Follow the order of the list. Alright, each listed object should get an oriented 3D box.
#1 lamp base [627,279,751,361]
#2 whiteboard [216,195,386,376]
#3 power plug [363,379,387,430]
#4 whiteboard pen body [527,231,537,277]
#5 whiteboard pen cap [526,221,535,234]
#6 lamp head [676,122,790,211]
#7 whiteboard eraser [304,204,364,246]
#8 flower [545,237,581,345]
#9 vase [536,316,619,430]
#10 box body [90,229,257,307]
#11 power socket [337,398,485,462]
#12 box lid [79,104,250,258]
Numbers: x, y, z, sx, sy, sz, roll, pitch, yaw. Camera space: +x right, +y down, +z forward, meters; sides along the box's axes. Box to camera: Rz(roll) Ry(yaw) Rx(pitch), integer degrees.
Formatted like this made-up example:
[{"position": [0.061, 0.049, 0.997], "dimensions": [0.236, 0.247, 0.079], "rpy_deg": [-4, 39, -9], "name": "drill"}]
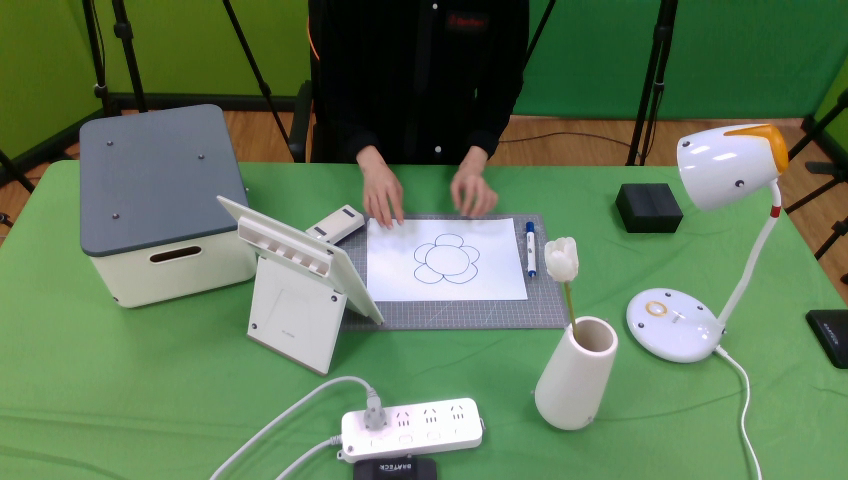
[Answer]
[{"position": [0.460, 0.100, 1.027], "dimensions": [0.178, 0.181, 0.160], "rpy_deg": [27, 51, 17], "name": "lamp base"}, {"position": [-0.212, 0.093, 0.939], "dimensions": [0.216, 0.307, 0.143], "rpy_deg": [24, 70, 17], "name": "whiteboard"}, {"position": [-0.071, 0.252, 0.911], "dimensions": [0.035, 0.053, 0.072], "rpy_deg": [3, 40, 0], "name": "power plug"}, {"position": [0.211, 0.018, 1.191], "dimensions": [0.017, 0.017, 0.140], "rpy_deg": [6, 44, 2], "name": "whiteboard pen body"}, {"position": [0.216, -0.022, 1.234], "dimensions": [0.018, 0.018, 0.033], "rpy_deg": [6, 44, 1], "name": "whiteboard pen cap"}, {"position": [0.423, -0.104, 0.819], "dimensions": [0.122, 0.113, 0.112], "rpy_deg": [-13, 33, 40], "name": "lamp head"}, {"position": [-0.175, -0.023, 1.188], "dimensions": [0.055, 0.042, 0.112], "rpy_deg": [36, 54, 26], "name": "whiteboard eraser"}, {"position": [0.213, 0.137, 0.846], "dimensions": [0.038, 0.364, 0.044], "rpy_deg": [21, 55, 40], "name": "flower"}, {"position": [0.229, 0.200, 0.901], "dimensions": [0.098, 0.201, 0.097], "rpy_deg": [3, 46, -3], "name": "vase"}, {"position": [-0.471, -0.070, 1.131], "dimensions": [0.254, 0.161, 0.361], "rpy_deg": [-14, 49, -17], "name": "box body"}, {"position": [-0.018, 0.285, 0.914], "dimensions": [0.227, 0.033, 0.071], "rpy_deg": [-4, 46, -8], "name": "power socket"}, {"position": [-0.467, -0.121, 1.075], "dimensions": [0.264, 0.015, 0.369], "rpy_deg": [-13, 49, -17], "name": "box lid"}]
